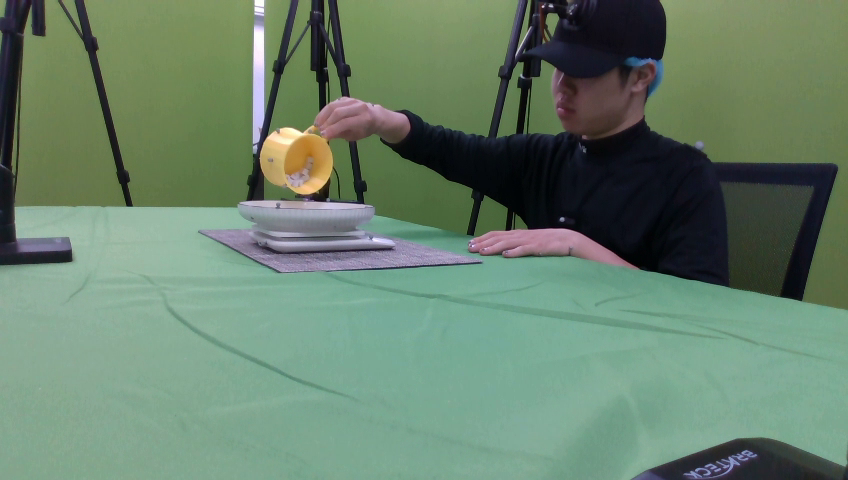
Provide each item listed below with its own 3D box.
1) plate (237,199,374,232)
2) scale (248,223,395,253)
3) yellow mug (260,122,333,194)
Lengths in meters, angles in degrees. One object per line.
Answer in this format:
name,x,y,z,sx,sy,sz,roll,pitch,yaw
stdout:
plate,-0.183,-0.039,0.941,0.209,0.038,0.209,3,7,0
scale,-0.162,-0.006,0.954,0.202,0.031,0.148,-2,8,-32
yellow mug,-0.202,-0.144,1.004,0.063,0.131,0.100,21,-19,39
